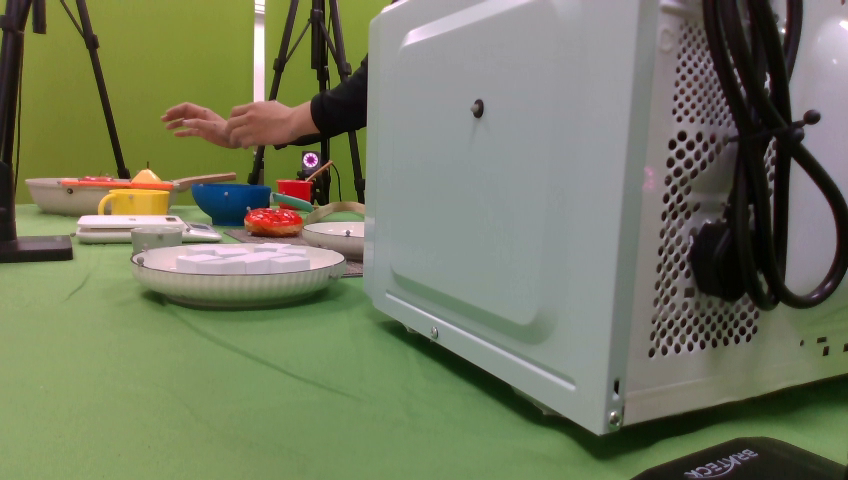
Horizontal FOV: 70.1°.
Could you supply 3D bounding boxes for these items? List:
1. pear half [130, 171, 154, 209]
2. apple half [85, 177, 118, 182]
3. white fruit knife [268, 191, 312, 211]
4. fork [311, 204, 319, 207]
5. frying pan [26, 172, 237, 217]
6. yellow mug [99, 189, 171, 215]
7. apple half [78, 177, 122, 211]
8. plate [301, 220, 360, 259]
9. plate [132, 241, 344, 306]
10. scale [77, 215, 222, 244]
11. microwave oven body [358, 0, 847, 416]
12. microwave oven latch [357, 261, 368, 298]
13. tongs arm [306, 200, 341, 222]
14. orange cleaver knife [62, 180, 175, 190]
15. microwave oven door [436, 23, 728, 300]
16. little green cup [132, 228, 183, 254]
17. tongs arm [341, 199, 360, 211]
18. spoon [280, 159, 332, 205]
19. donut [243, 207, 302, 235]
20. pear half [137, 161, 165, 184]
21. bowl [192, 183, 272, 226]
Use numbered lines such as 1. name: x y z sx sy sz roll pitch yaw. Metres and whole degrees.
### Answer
1. pear half: -0.640 -0.114 1.361 0.031 0.088 0.070 5 10 5
2. apple half: -0.672 -0.096 1.268 0.082 0.081 0.032 -4 4 -39
3. white fruit knife: -0.364 -0.105 1.464 0.208 0.027 0.016 15 0 -34
4. fork: -0.356 -0.105 1.526 0.208 0.018 0.028 16 -6 -40
5. frying pan: -0.624 -0.119 1.387 0.305 0.102 0.490 8 17 32
6. yellow mug: -0.518 -0.055 1.080 0.099 0.064 0.131 6 9 26
7. apple half: -0.698 -0.099 1.298 0.081 0.074 0.053 -9 9 -40
8. plate: -0.077 -0.002 0.893 0.209 0.038 0.209 3 8 0
9. plate: -0.187 0.033 0.625 0.208 0.039 0.207 2 7 0
10. scale: -0.434 -0.019 0.963 0.202 0.031 0.148 -1 9 -26
11. microwave oven body: 0.211 -0.047 0.474 0.444 0.260 0.324 -1 7 -28
12. microwave oven latch: -0.019 0.033 0.530 0.079 0.029 0.030 -1 7 -26
13. tongs arm: -0.234 -0.069 1.413 0.028 0.028 0.387 -5 8 1
14. orange cleaver knife: -0.600 -0.110 1.193 0.212 0.012 0.077 1 8 -13
15. microwave oven door: 0.180 -0.073 0.621 0.358 0.243 0.039 -2 9 -29
16. little green cup: -0.342 0.006 0.779 0.061 0.038 0.061 2 8 0
17. tongs arm: -0.148 -0.071 1.428 0.051 0.026 0.383 -4 9 -15
18. spoon: -0.316 -0.158 1.640 0.194 0.022 0.041 -50 31 -20
19. donut: -0.261 -0.032 1.043 0.099 0.048 0.099 4 9 0
20. pear half: -0.604 -0.120 1.354 0.056 0.110 0.076 3 11 7
21. bowl: -0.381 -0.071 1.202 0.151 0.077 0.151 3 7 0
